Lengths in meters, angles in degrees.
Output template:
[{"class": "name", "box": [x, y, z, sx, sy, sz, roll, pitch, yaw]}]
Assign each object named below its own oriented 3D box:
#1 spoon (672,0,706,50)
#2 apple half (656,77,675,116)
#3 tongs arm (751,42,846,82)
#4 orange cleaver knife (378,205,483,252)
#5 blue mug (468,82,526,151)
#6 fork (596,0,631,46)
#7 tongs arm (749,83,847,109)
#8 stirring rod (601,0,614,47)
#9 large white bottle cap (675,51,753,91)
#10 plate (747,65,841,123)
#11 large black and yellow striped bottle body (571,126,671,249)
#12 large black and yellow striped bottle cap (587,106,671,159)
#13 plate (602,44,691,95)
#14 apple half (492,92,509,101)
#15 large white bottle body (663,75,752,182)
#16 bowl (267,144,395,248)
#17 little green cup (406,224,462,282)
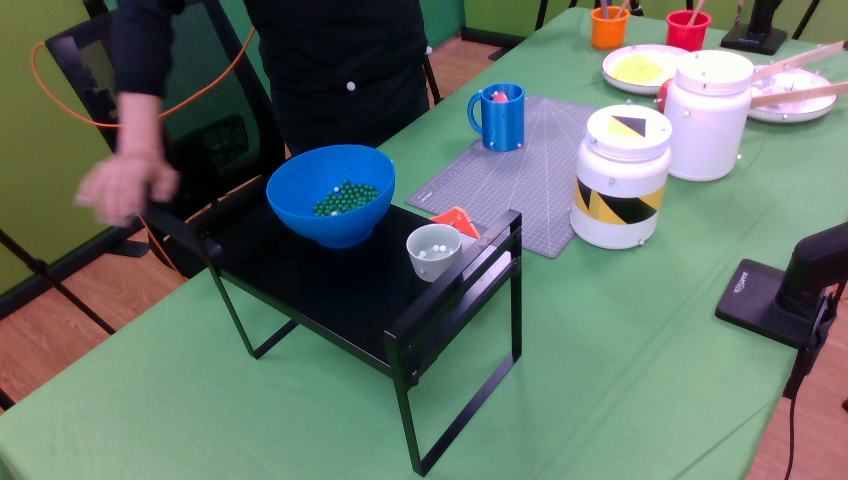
[{"class": "spoon", "box": [0.629, -0.520, 1.394, 0.041, 0.022, 0.193, 29, 97, 34]}, {"class": "apple half", "box": [0.488, -0.281, 1.192, 0.053, 0.075, 0.081, 24, 54, 37]}, {"class": "tongs arm", "box": [0.708, -0.331, 1.194, 0.386, 0.026, 0.050, -18, 45, -16]}, {"class": "orange cleaver knife", "box": [0.005, -0.010, 0.944, 0.210, 0.077, 0.012, -5, 23, 47]}, {"class": "blue mug", "box": [0.139, -0.242, 1.170, 0.116, 0.106, 0.082, 14, 45, 24]}, {"class": "fork", "box": [0.481, -0.556, 1.453, 0.028, 0.019, 0.207, 40, 103, 38]}, {"class": "tongs arm", "box": [0.734, -0.280, 1.133, 0.388, 0.028, 0.028, -9, 47, -5]}, {"class": "stirring rod", "box": [0.440, -0.552, 1.463, 0.014, 0.006, 0.175, -7, 83, 4]}, {"class": "large white bottle cap", "box": [0.463, -0.271, 0.967, 0.115, 0.018, 0.114, -4, 40, 4]}, {"class": "plate", "box": [0.694, -0.282, 1.189, 0.207, 0.039, 0.206, -4, 40, 4]}, {"class": "large black and yellow striped bottle body", "box": [0.296, -0.093, 0.915, 0.131, 0.185, 0.130, -3, 42, 3]}, {"class": "large black and yellow striped bottle cap", "box": [0.290, -0.154, 0.858, 0.115, 0.019, 0.114, -4, 42, 4]}, {"class": "plate", "box": [0.495, -0.367, 1.317, 0.209, 0.038, 0.208, -4, 40, 4]}, {"class": "apple half", "box": [0.143, -0.240, 1.159, 0.033, 0.081, 0.080, -11, 40, -13]}, {"class": "large white bottle body", "box": [0.472, -0.207, 1.022, 0.130, 0.185, 0.130, -4, 41, 4]}, {"class": "bowl", "box": [-0.104, -0.043, 0.726, 0.151, 0.077, 0.150, -4, 40, 4]}, {"class": "little green cup", "box": [0.012, 0.015, 0.668, 0.061, 0.039, 0.061, -4, 40, 4]}]
